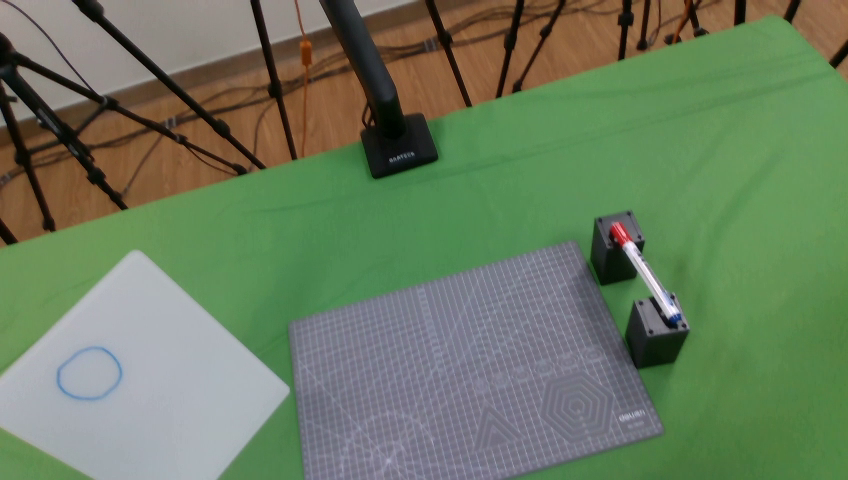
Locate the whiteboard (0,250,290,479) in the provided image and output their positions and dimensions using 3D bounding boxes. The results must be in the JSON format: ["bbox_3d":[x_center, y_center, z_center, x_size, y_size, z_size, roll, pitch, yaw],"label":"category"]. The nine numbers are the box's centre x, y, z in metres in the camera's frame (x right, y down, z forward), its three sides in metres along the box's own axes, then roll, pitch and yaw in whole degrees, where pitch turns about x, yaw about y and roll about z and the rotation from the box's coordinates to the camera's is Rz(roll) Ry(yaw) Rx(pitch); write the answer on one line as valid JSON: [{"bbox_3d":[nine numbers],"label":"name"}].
[{"bbox_3d":[-0.360,0.171,0.759,0.142,0.309,0.216,19,61,44],"label":"whiteboard"}]

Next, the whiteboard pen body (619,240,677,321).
[{"bbox_3d":[0.269,0.039,0.747,0.017,0.017,0.139,-20,56,-3],"label":"whiteboard pen body"}]

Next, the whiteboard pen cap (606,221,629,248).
[{"bbox_3d":[0.250,-0.007,0.780,0.017,0.017,0.032,-20,57,-3],"label":"whiteboard pen cap"}]
